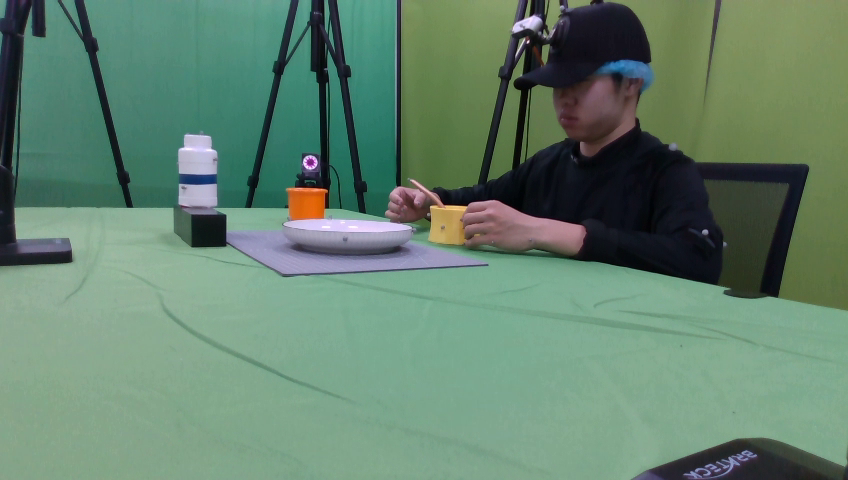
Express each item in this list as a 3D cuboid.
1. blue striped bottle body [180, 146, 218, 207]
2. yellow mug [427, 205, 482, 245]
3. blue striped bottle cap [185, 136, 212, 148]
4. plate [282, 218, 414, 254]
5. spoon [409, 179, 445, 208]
[{"bbox_3d":[-0.392,-0.118,1.053,0.063,0.120,0.063,2,8,0],"label":"blue striped bottle body"},{"bbox_3d":[0.063,-0.028,1.111,0.100,0.064,0.130,0,8,-21],"label":"yellow mug"},{"bbox_3d":[-0.390,-0.169,1.047,0.044,0.020,0.044,4,10,0],"label":"blue striped bottle cap"},{"bbox_3d":[-0.121,-0.007,0.971,0.208,0.039,0.207,2,7,0],"label":"plate"},{"bbox_3d":[0.027,-0.066,1.154,0.042,0.021,0.193,2,37,-43],"label":"spoon"}]
